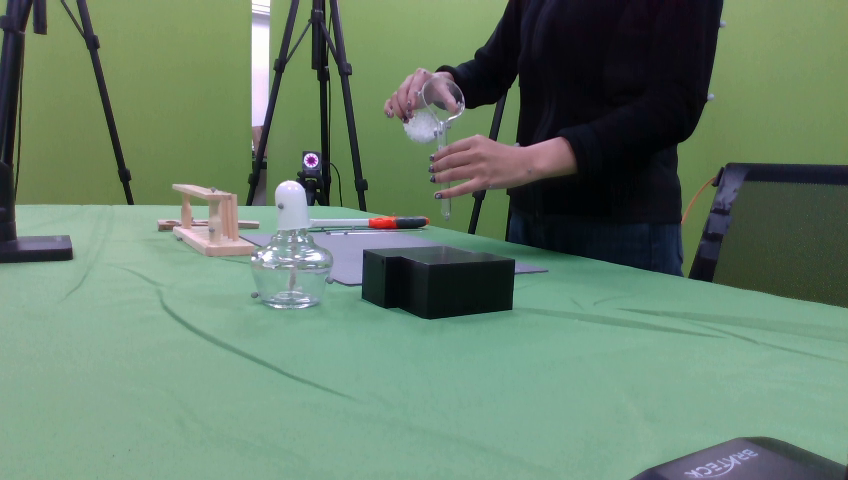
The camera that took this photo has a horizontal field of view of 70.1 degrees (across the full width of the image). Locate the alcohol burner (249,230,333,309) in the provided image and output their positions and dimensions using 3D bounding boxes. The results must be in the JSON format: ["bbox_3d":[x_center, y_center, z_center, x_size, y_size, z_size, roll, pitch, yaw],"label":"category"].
[{"bbox_3d":[-0.125,0.004,0.568,0.078,0.119,0.078,2,10,0],"label":"alcohol burner"}]

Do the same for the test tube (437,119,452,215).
[{"bbox_3d":[0.031,-0.111,0.911,0.017,0.150,0.017,-2,-13,0],"label":"test tube"}]

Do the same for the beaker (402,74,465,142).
[{"bbox_3d":[0.012,-0.208,0.982,0.074,0.084,0.100,9,-21,-21],"label":"beaker"}]

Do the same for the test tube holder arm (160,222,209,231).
[{"bbox_3d":[-0.423,-0.024,1.076,0.088,0.015,0.010,-3,45,-38],"label":"test tube holder arm"}]

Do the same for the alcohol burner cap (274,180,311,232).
[{"bbox_3d":[-0.125,-0.032,0.563,0.034,0.048,0.034,-6,6,1],"label":"alcohol burner cap"}]

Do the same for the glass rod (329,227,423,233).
[{"bbox_3d":[-0.087,-0.020,1.148,0.201,0.008,0.008,-3,8,-32],"label":"glass rod"}]

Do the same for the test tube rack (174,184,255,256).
[{"bbox_3d":[-0.327,-0.036,0.928,0.067,0.085,0.241,-2,9,-32],"label":"test tube rack"}]

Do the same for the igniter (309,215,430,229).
[{"bbox_3d":[-0.108,-0.037,1.228,0.278,0.025,0.057,-3,-1,-35],"label":"igniter"}]

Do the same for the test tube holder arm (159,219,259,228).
[{"bbox_3d":[-0.390,-0.030,1.107,0.179,0.015,0.013,-4,45,-39],"label":"test tube holder arm"}]
